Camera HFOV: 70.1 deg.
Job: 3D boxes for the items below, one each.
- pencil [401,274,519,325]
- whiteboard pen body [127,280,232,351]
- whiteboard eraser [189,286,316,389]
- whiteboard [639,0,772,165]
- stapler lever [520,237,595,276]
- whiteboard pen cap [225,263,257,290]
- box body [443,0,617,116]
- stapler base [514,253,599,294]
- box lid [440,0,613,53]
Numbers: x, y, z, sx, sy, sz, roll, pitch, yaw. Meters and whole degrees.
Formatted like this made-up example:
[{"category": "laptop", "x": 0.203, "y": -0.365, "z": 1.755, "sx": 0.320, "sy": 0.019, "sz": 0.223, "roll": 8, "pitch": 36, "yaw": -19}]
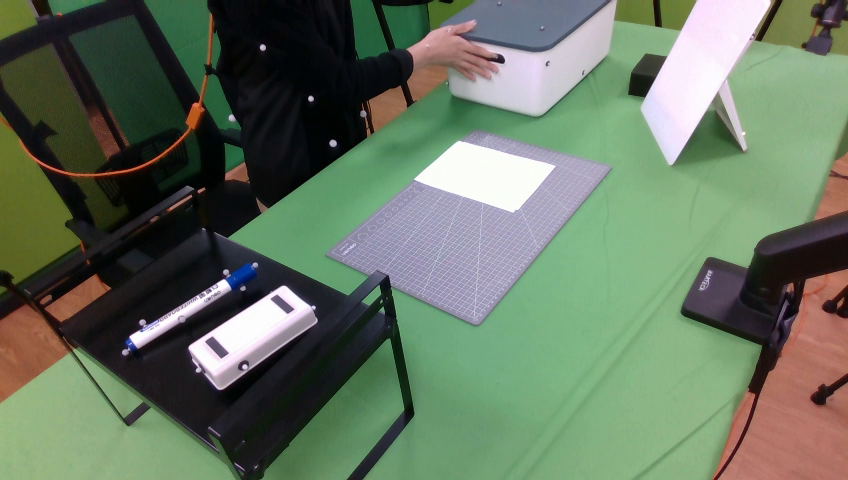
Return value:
[{"category": "pencil", "x": 0.056, "y": 0.082, "z": 0.872, "sx": 0.195, "sy": 0.012, "sz": 0.012, "roll": -20, "pitch": 42, "yaw": -19}, {"category": "whiteboard pen body", "x": -0.248, "y": 0.072, "z": 0.645, "sx": 0.141, "sy": 0.017, "sz": 0.017, "roll": -35, "pitch": 47, "yaw": -23}, {"category": "whiteboard eraser", "x": -0.166, "y": 0.096, "z": 0.593, "sx": 0.113, "sy": 0.042, "sz": 0.055, "roll": -36, "pitch": 47, "yaw": -29}, {"category": "whiteboard", "x": 0.543, "y": -0.298, "z": 1.076, "sx": 0.144, "sy": 0.305, "sz": 0.216, "roll": 12, "pitch": 40, "yaw": -7}, {"category": "stapler lever", "x": 0.193, "y": 0.018, "z": 0.875, "sx": 0.118, "sy": 0.040, "sz": 0.026, "roll": -21, "pitch": 43, "yaw": -17}, {"category": "whiteboard pen cap", "x": -0.204, "y": 0.041, "z": 0.668, "sx": 0.033, "sy": 0.018, "sz": 0.018, "roll": -36, "pitch": 48, "yaw": -22}, {"category": "box body", "x": 0.243, "y": -0.441, "z": 1.349, "sx": 0.252, "sy": 0.161, "sz": 0.365, "roll": 22, "pitch": 48, "yaw": 30}, {"category": "stapler base", "x": 0.195, "y": 0.039, "z": 0.891, "sx": 0.131, "sy": 0.024, "sz": 0.041, "roll": -22, "pitch": 43, "yaw": -16}, {"category": "box lid", "x": 0.236, "y": -0.498, "z": 1.302, "sx": 0.261, "sy": 0.015, "sz": 0.372, "roll": 23, "pitch": 49, "yaw": 30}]
